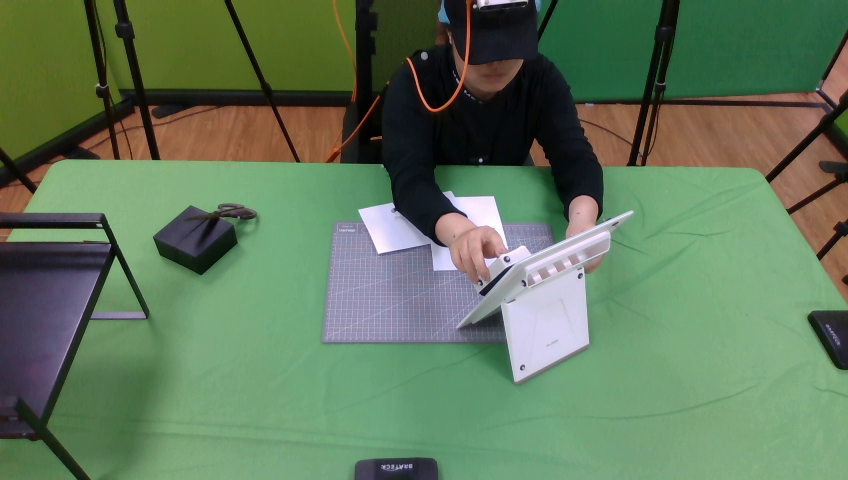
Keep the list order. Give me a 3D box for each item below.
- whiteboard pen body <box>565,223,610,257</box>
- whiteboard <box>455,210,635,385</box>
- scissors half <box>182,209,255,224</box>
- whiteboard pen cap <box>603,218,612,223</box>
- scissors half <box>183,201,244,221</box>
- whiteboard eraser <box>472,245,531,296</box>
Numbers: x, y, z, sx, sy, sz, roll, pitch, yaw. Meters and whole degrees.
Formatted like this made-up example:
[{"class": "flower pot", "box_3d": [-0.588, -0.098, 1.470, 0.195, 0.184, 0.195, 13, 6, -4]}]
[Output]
[{"class": "whiteboard pen body", "box_3d": [0.335, -0.003, 1.228, 0.141, 0.017, 0.017, -32, 56, -29]}, {"class": "whiteboard", "box_3d": [0.211, 0.111, 0.955, 0.217, 0.306, 0.143, -21, 71, -23]}, {"class": "scissors half", "box_3d": [-0.389, -0.042, 1.158, 0.040, 0.013, 0.175, 38, 21, 23]}, {"class": "whiteboard pen cap", "box_3d": [0.379, -0.031, 1.255, 0.033, 0.018, 0.018, -33, 56, -30]}, {"class": "scissors half", "box_3d": [-0.405, -0.053, 1.163, 0.040, 0.013, 0.175, 27, 18, 8]}, {"class": "whiteboard eraser", "box_3d": [0.122, 0.051, 0.939, 0.056, 0.113, 0.041, -19, 72, -27]}]
